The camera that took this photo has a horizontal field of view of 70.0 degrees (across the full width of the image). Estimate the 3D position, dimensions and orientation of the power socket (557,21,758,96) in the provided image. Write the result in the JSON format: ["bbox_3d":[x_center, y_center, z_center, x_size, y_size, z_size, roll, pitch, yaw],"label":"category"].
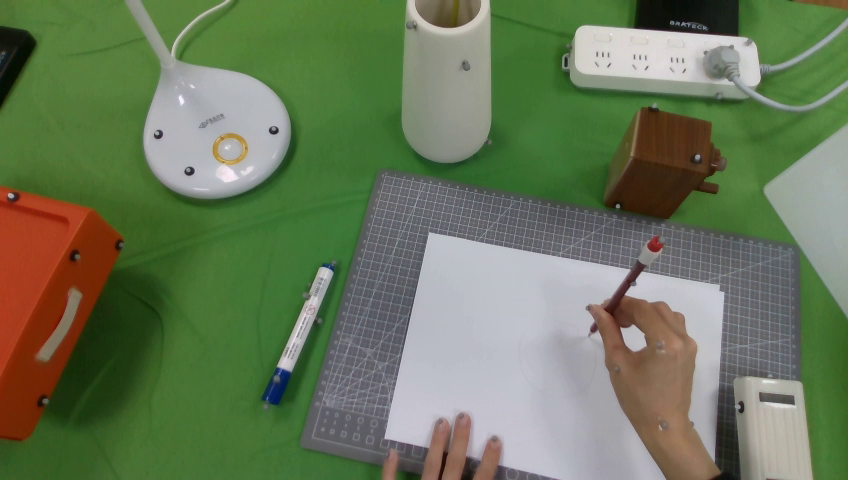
[{"bbox_3d":[0.270,-0.210,0.701,0.227,0.033,0.071,6,69,2],"label":"power socket"}]

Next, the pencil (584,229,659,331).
[{"bbox_3d":[0.159,0.042,0.508,0.012,0.195,0.012,0,61,0],"label":"pencil"}]

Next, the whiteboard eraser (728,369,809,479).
[{"bbox_3d":[0.304,0.174,0.539,0.055,0.042,0.112,6,68,1],"label":"whiteboard eraser"}]

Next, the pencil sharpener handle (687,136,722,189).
[{"bbox_3d":[0.279,-0.072,0.593,0.030,0.068,0.036,13,67,6],"label":"pencil sharpener handle"}]

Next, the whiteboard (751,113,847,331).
[{"bbox_3d":[0.500,-0.054,0.524,0.144,0.307,0.215,-12,66,-25],"label":"whiteboard"}]

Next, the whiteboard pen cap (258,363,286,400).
[{"bbox_3d":[-0.141,0.131,0.567,0.018,0.018,0.033,16,63,7],"label":"whiteboard pen cap"}]

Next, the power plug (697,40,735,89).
[{"bbox_3d":[0.318,-0.188,0.667,0.035,0.053,0.072,15,70,7],"label":"power plug"}]

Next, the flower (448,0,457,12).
[{"bbox_3d":[0.026,-0.211,0.525,0.038,0.364,0.043,-1,49,-7],"label":"flower"}]

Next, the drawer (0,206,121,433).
[{"bbox_3d":[-0.412,0.044,0.529,0.211,0.074,0.193,14,70,6],"label":"drawer"}]

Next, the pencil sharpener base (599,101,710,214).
[{"bbox_3d":[0.230,-0.079,0.609,0.076,0.108,0.061,13,68,6],"label":"pencil sharpener base"}]

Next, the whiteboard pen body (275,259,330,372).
[{"bbox_3d":[-0.122,0.081,0.591,0.017,0.017,0.140,15,65,7],"label":"whiteboard pen body"}]

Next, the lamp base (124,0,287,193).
[{"bbox_3d":[-0.243,-0.161,0.605,0.160,0.181,0.178,-42,70,-15],"label":"lamp base"}]

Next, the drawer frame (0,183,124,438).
[{"bbox_3d":[-0.418,0.045,0.531,0.213,0.083,0.200,14,69,4],"label":"drawer frame"}]

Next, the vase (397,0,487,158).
[{"bbox_3d":[0.017,-0.164,0.595,0.098,0.201,0.097,-1,67,2],"label":"vase"}]
